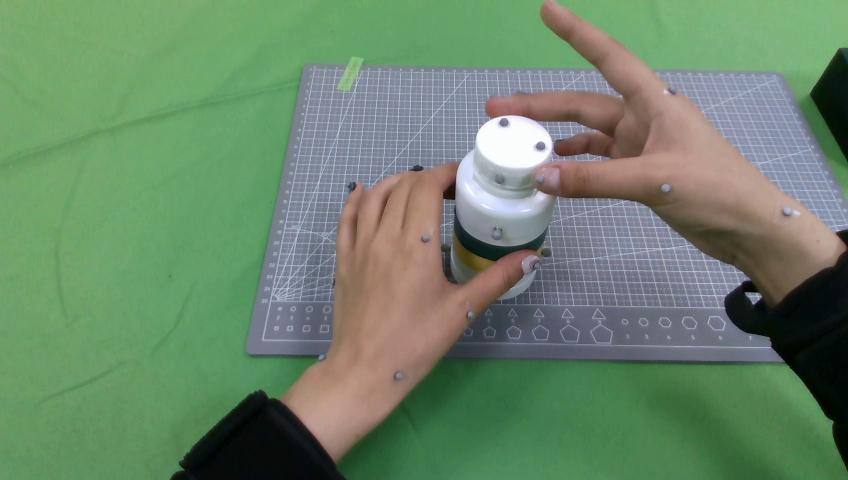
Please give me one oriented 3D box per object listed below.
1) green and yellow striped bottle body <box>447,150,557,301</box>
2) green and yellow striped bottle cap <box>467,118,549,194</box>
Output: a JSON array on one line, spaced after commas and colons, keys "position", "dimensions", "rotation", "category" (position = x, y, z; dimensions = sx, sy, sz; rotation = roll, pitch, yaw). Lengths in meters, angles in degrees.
[{"position": [0.048, -0.016, 0.390], "dimensions": [0.063, 0.121, 0.062], "rotation": [0, 54, 0], "category": "green and yellow striped bottle body"}, {"position": [0.048, -0.048, 0.344], "dimensions": [0.045, 0.020, 0.045], "rotation": [1, 52, -1], "category": "green and yellow striped bottle cap"}]
